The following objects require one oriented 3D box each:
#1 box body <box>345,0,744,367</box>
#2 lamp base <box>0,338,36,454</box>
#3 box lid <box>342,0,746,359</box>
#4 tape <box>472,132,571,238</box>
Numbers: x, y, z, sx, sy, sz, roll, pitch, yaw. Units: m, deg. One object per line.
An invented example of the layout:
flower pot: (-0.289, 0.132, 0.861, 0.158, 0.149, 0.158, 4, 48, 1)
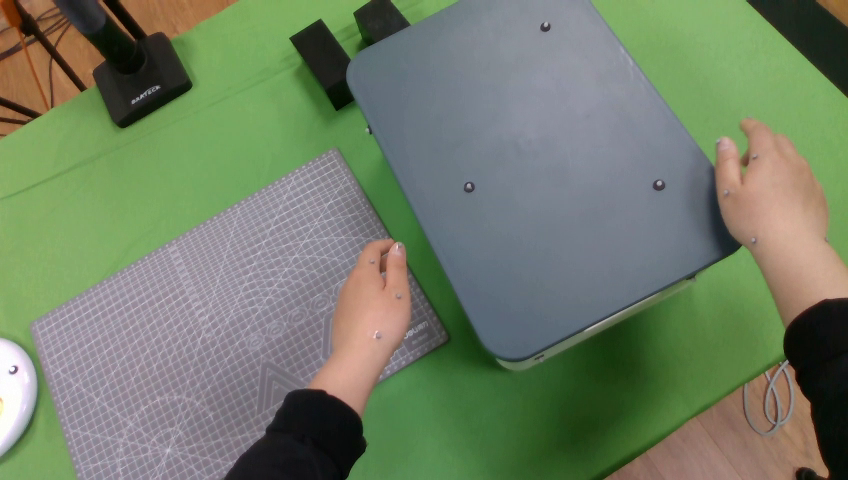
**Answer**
box body: (0.109, -0.072, 0.657, 0.254, 0.161, 0.361, -28, 69, -2)
lamp base: (-0.572, 0.170, 0.666, 0.179, 0.181, 0.159, 6, 71, 13)
box lid: (0.098, -0.099, 0.589, 0.263, 0.015, 0.368, -28, 70, -1)
tape: (0.114, -0.065, 0.707, 0.117, 0.053, 0.116, -2, 70, 7)
